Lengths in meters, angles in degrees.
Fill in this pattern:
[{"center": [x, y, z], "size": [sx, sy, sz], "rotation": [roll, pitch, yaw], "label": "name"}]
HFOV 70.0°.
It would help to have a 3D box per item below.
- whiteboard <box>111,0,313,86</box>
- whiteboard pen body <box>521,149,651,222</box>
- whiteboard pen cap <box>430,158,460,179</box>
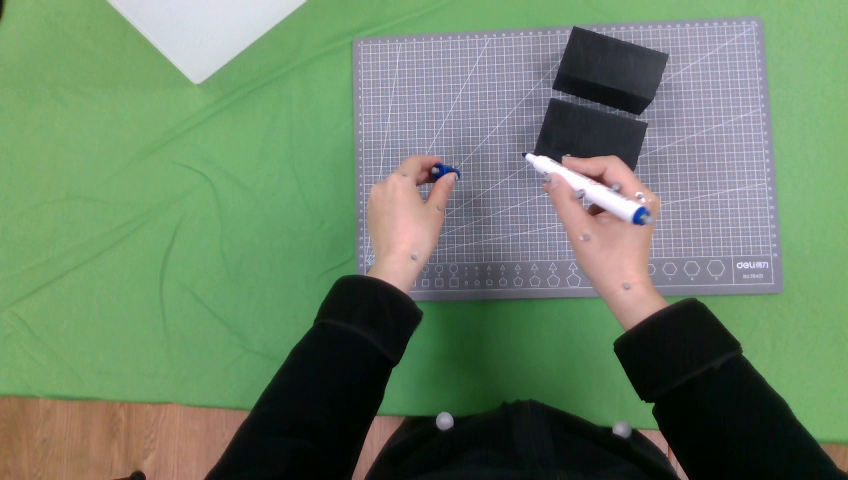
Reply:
[{"center": [-0.254, -0.348, 0.594], "size": [0.217, 0.308, 0.142], "rotation": [-37, 63, 1], "label": "whiteboard"}, {"center": [0.126, -0.049, 0.494], "size": [0.017, 0.017, 0.139], "rotation": [-49, 45, -2], "label": "whiteboard pen body"}, {"center": [0.021, -0.072, 0.613], "size": [0.018, 0.033, 0.018], "rotation": [-3, 84, 35], "label": "whiteboard pen cap"}]
